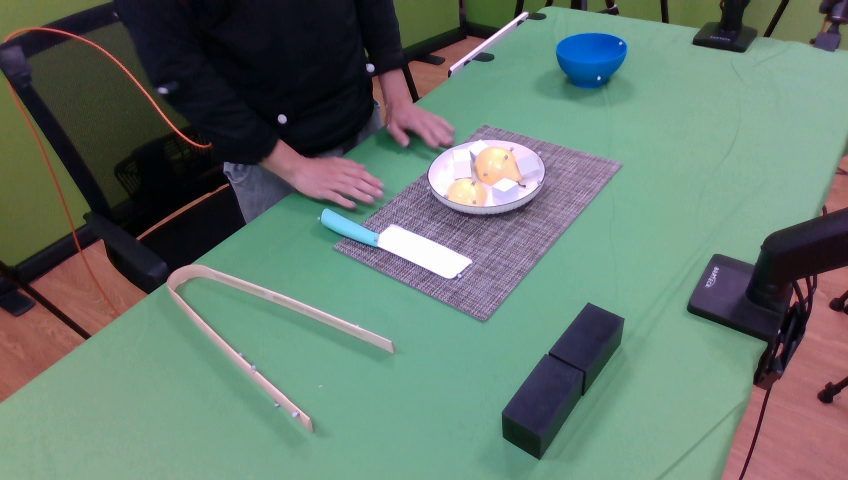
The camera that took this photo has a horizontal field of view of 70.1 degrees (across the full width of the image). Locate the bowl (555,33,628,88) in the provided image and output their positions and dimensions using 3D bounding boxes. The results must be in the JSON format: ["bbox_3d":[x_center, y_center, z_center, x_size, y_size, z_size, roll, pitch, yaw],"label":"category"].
[{"bbox_3d":[0.361,-0.384,1.318,0.151,0.077,0.150,-4,41,4],"label":"bowl"}]

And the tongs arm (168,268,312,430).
[{"bbox_3d":[-0.259,0.136,0.835,0.381,0.026,0.051,27,50,35],"label":"tongs arm"}]

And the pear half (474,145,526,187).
[{"bbox_3d":[0.140,-0.129,1.059,0.076,0.056,0.109,-37,52,-24],"label":"pear half"}]

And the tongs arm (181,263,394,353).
[{"bbox_3d":[-0.208,0.095,0.883,0.385,0.028,0.028,16,48,25],"label":"tongs arm"}]

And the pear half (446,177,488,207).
[{"bbox_3d":[0.073,-0.086,1.031,0.070,0.031,0.087,-20,36,-10],"label":"pear half"}]

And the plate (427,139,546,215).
[{"bbox_3d":[0.109,-0.106,1.058,0.207,0.039,0.206,-4,41,4],"label":"plate"}]

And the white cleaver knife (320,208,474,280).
[{"bbox_3d":[-0.053,0.001,0.978,0.284,0.021,0.066,23,41,26],"label":"white cleaver knife"}]
